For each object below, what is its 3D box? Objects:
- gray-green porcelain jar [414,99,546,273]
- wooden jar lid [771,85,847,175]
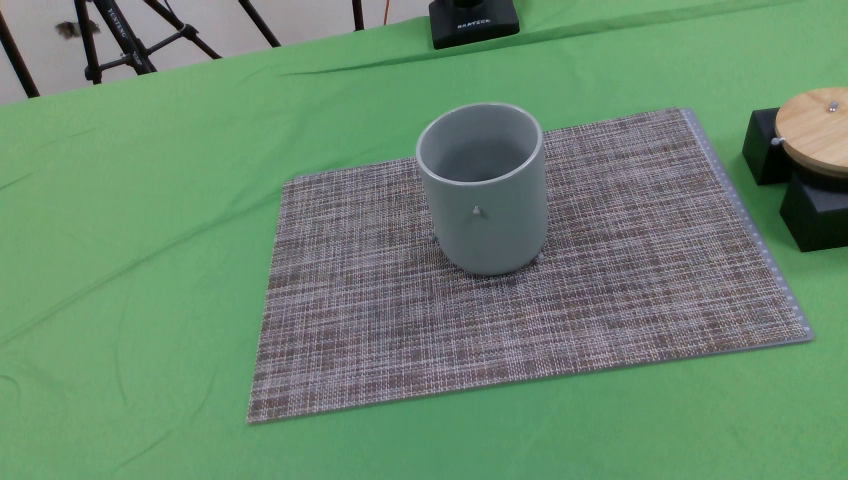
[{"bbox_3d":[0.054,-0.041,0.536,0.106,0.128,0.105,-7,48,8],"label":"gray-green porcelain jar"},{"bbox_3d":[0.356,-0.094,0.518,0.108,0.021,0.107,-7,49,9],"label":"wooden jar lid"}]
